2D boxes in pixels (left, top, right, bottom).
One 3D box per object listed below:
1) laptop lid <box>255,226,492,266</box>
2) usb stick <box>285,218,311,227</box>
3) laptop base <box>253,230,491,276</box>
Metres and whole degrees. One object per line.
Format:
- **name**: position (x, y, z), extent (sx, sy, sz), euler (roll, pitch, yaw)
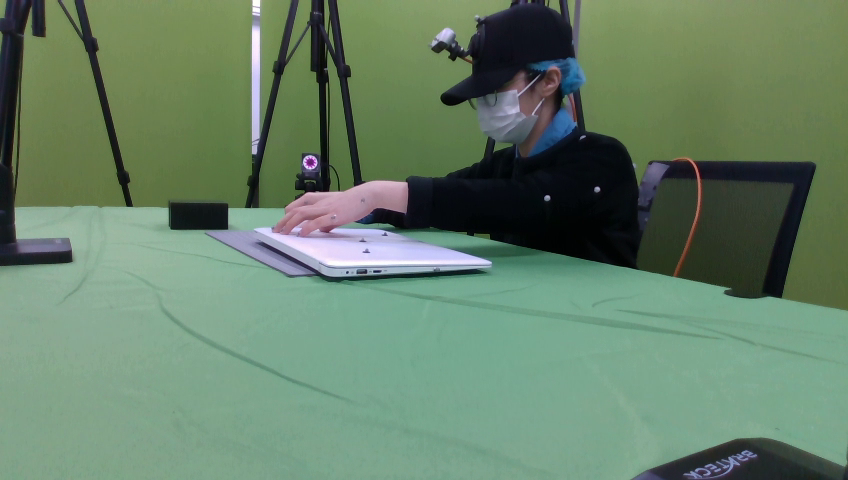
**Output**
- **laptop lid**: position (-0.092, 0.004, 0.888), extent (0.243, 0.013, 0.355), euler (1, 8, -28)
- **usb stick**: position (-0.235, -0.025, 1.102), extent (0.021, 0.027, 0.059), euler (4, 10, 39)
- **laptop base**: position (-0.095, 0.015, 0.889), extent (0.237, 0.023, 0.352), euler (1, 7, -30)
